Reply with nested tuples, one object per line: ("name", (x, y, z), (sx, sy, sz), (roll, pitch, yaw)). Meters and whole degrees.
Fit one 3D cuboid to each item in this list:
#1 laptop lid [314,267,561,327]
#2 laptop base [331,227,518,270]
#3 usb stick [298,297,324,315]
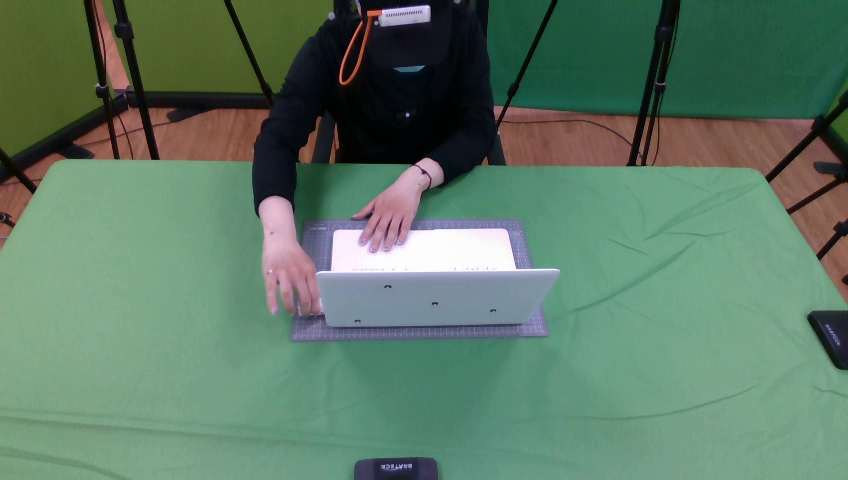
("laptop lid", (0.016, 0.094, 0.949), (0.357, 0.242, 0.013), (0, 64, -5))
("laptop base", (0.004, 0.062, 1.135), (0.355, 0.023, 0.234), (-1, 42, -4))
("usb stick", (-0.189, 0.115, 1.056), (0.059, 0.027, 0.021), (-1, 44, -7))
